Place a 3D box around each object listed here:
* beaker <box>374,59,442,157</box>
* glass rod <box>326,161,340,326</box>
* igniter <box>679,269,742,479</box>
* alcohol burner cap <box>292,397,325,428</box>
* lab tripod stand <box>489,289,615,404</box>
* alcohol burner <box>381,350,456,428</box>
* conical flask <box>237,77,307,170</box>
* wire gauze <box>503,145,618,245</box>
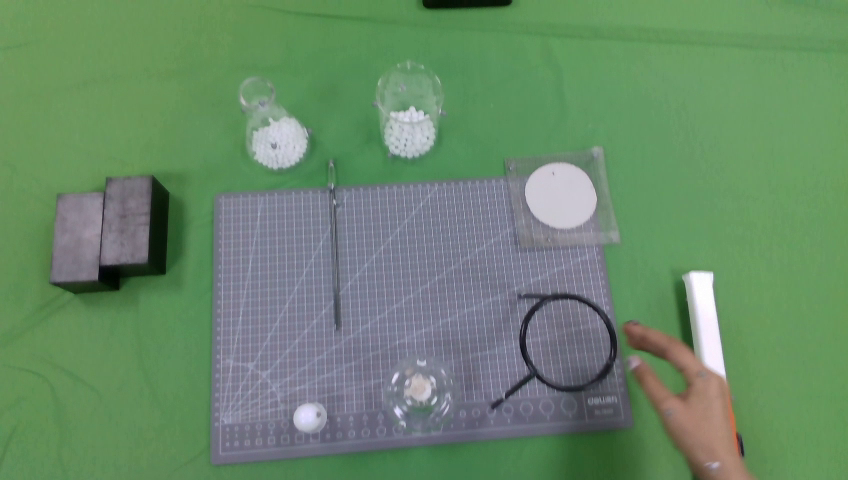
[{"bbox_3d":[-0.020,-0.148,0.702,0.074,0.101,0.083,-2,73,-3],"label":"beaker"},{"bbox_3d":[-0.105,0.000,0.697,0.008,0.008,0.198,-4,74,-4],"label":"glass rod"},{"bbox_3d":[0.313,0.167,0.665,0.057,0.025,0.275,4,73,-13],"label":"igniter"},{"bbox_3d":[-0.121,0.179,0.629,0.034,0.048,0.033,1,74,-3],"label":"alcohol burner cap"},{"bbox_3d":[0.126,0.111,0.613,0.148,0.132,0.147,1,75,-3],"label":"lab tripod stand"},{"bbox_3d":[-0.005,0.148,0.606,0.078,0.119,0.077,1,75,-2],"label":"alcohol burner"},{"bbox_3d":[-0.176,-0.134,0.677,0.075,0.122,0.075,1,73,-2],"label":"conical flask"},{"bbox_3d":[0.164,-0.054,0.728,0.125,0.011,0.120,-4,74,-4],"label":"wire gauze"}]
